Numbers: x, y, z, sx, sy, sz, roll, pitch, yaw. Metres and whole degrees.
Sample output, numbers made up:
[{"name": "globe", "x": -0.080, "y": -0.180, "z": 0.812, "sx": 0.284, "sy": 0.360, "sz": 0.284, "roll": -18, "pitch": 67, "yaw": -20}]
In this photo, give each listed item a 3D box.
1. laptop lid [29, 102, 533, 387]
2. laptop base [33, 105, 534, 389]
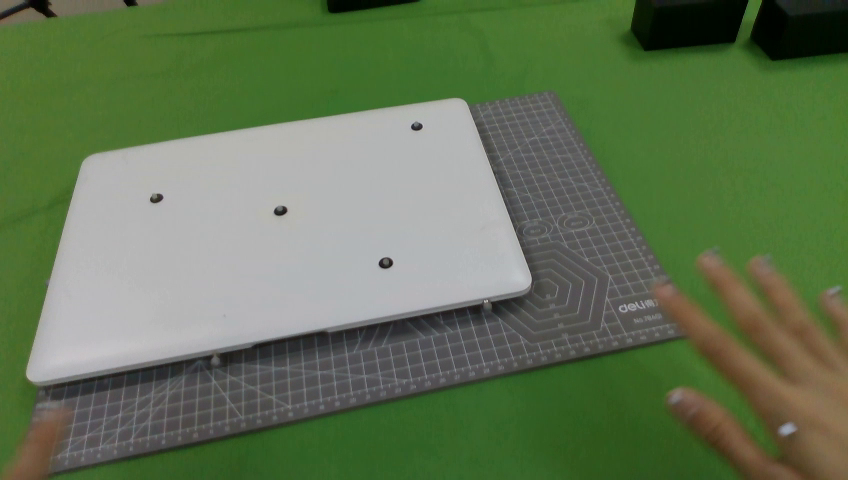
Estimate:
[{"name": "laptop lid", "x": -0.112, "y": -0.017, "z": 0.488, "sx": 0.357, "sy": 0.013, "sz": 0.239, "roll": -9, "pitch": 50, "yaw": -4}, {"name": "laptop base", "x": -0.112, "y": -0.011, "z": 0.498, "sx": 0.355, "sy": 0.023, "sz": 0.233, "roll": -10, "pitch": 51, "yaw": -5}]
